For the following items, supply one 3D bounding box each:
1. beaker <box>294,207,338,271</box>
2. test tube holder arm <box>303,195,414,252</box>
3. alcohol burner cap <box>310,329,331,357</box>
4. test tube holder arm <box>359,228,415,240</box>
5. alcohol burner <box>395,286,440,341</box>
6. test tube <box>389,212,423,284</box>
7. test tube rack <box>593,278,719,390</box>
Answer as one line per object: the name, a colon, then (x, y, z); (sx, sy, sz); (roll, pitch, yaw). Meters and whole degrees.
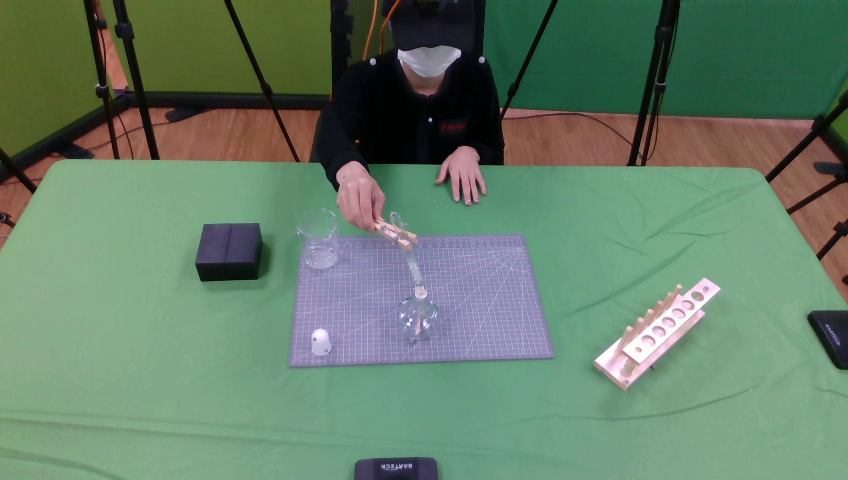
beaker: (-0.196, 0.003, 1.123); (0.074, 0.101, 0.083); (-23, 52, -24)
test tube holder arm: (-0.098, -0.025, 0.908); (0.178, 0.013, 0.015); (26, 38, -4)
alcohol burner cap: (-0.173, 0.168, 1.005); (0.034, 0.048, 0.033); (2, 46, -2)
test tube holder arm: (-0.056, -0.009, 0.908); (0.088, 0.010, 0.015); (-3, 32, 17)
alcohol burner: (-0.010, 0.116, 1.018); (0.078, 0.119, 0.077); (3, 47, -3)
test tube: (-0.026, 0.016, 0.925); (0.017, 0.151, 0.017); (-10, 43, 9)
test tube rack: (0.401, 0.148, 1.043); (0.242, 0.085, 0.066); (-30, 55, -29)
